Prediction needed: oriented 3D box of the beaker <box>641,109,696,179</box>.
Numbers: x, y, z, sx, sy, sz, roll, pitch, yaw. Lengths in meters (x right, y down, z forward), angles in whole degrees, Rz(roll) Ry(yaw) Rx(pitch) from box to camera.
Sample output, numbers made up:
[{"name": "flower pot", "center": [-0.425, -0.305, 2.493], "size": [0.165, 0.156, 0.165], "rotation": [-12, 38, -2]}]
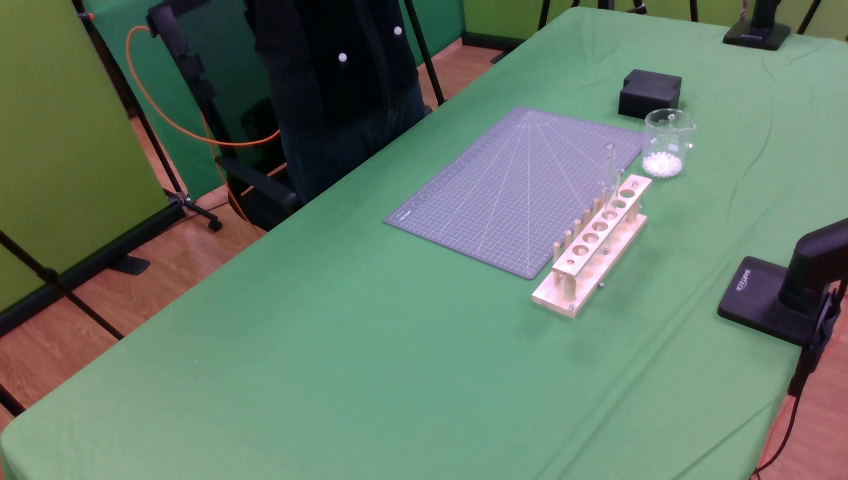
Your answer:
[{"name": "beaker", "center": [0.415, -0.161, 1.035], "size": [0.083, 0.101, 0.074], "rotation": [19, 48, 29]}]

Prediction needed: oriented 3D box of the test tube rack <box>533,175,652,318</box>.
[{"name": "test tube rack", "center": [0.250, -0.001, 0.889], "size": [0.066, 0.085, 0.243], "rotation": [23, 49, 33]}]

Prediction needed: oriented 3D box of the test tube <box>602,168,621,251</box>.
[{"name": "test tube", "center": [0.264, -0.039, 0.854], "size": [0.017, 0.151, 0.017], "rotation": [-5, 44, 6]}]

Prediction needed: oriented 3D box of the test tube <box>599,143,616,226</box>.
[{"name": "test tube", "center": [0.273, -0.081, 0.909], "size": [0.017, 0.151, 0.017], "rotation": [-4, 42, 4]}]
